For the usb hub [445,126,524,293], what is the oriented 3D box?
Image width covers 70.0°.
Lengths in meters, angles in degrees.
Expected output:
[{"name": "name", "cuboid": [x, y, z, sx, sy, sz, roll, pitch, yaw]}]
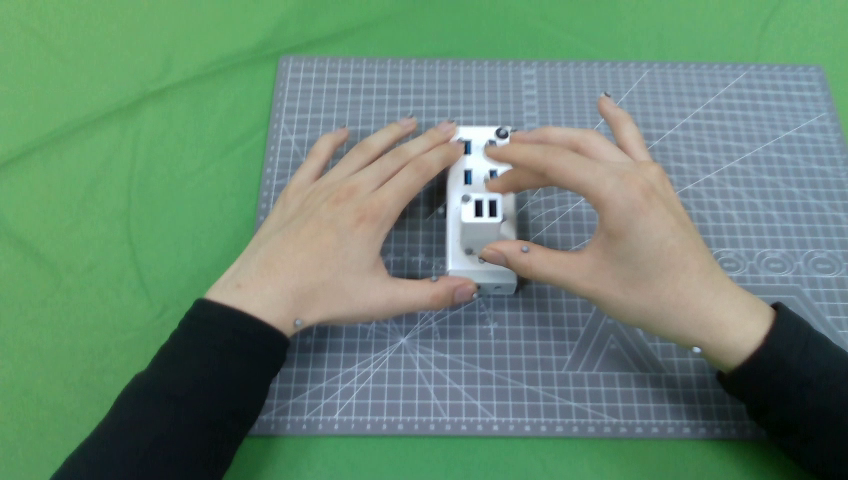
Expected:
[{"name": "usb hub", "cuboid": [0.042, -0.024, 0.429, 0.049, 0.025, 0.124, 0, 65, -1]}]

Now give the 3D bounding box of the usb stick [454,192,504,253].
[{"name": "usb stick", "cuboid": [0.034, -0.007, 0.391, 0.027, 0.059, 0.021, -1, 63, -7]}]
